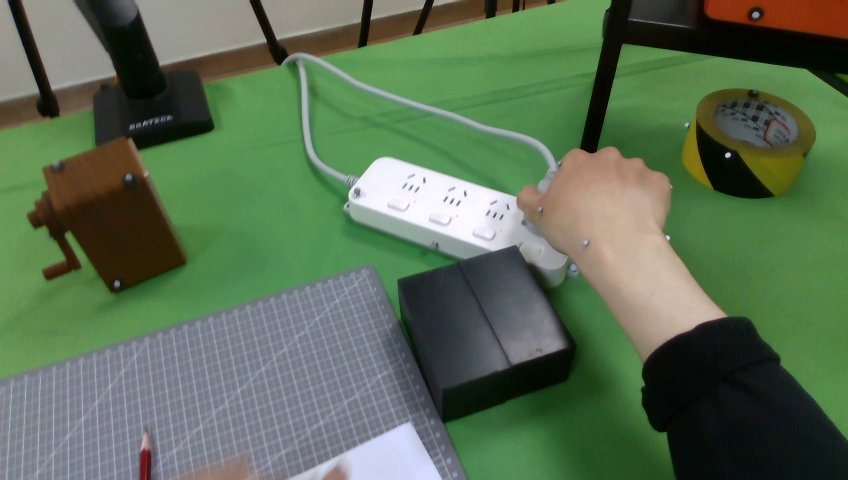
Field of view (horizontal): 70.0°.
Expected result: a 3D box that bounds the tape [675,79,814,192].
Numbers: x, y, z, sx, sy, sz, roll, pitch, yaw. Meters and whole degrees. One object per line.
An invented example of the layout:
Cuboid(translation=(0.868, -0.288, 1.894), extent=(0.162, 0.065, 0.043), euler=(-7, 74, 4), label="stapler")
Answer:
Cuboid(translation=(0.315, -0.105, 0.598), extent=(0.117, 0.053, 0.115), euler=(-1, 49, 1), label="tape")

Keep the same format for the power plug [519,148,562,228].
Cuboid(translation=(0.110, -0.038, 0.527), extent=(0.035, 0.053, 0.072), euler=(27, 56, 25), label="power plug")

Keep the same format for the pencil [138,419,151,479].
Cuboid(translation=(-0.173, 0.196, 0.370), extent=(0.012, 0.012, 0.192), euler=(-13, 49, -9), label="pencil")

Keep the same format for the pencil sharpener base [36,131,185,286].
Cuboid(translation=(-0.258, -0.023, 0.504), extent=(0.077, 0.108, 0.060), euler=(-27, 54, -20), label="pencil sharpener base")

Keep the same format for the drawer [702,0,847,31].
Cuboid(translation=(0.325, -0.239, 0.459), extent=(0.194, 0.074, 0.210), euler=(14, 49, 14), label="drawer")

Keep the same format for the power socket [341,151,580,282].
Cuboid(translation=(0.031, -0.025, 0.549), extent=(0.225, 0.033, 0.072), euler=(19, 51, 18), label="power socket")

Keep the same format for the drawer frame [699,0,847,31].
Cuboid(translation=(0.325, -0.244, 0.461), extent=(0.201, 0.083, 0.212), euler=(13, 49, 13), label="drawer frame")

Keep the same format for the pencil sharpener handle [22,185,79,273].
Cuboid(translation=(-0.298, -0.007, 0.473), extent=(0.031, 0.068, 0.035), euler=(-27, 32, -20), label="pencil sharpener handle")
